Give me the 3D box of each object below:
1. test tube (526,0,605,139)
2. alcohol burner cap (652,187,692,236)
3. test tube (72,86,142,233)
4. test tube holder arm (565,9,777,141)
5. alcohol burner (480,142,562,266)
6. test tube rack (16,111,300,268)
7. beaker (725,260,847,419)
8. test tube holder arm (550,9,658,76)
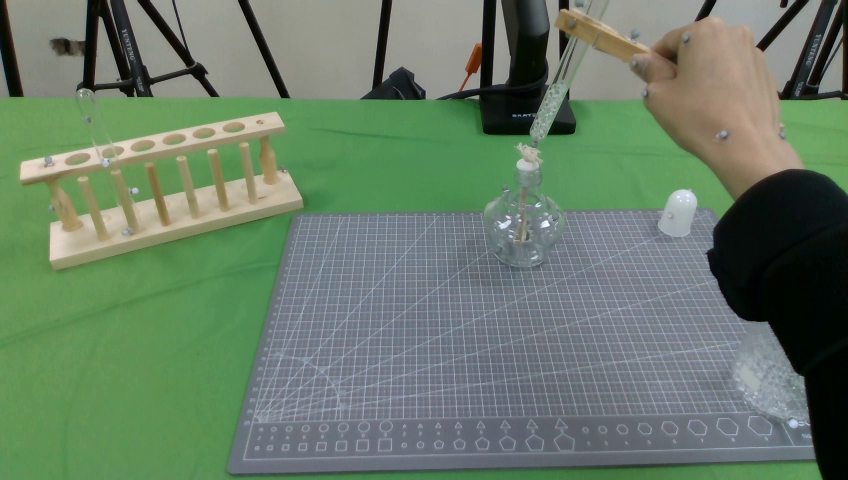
[{"bbox_3d":[0.112,-0.144,0.470,0.017,0.151,0.017,13,38,-10],"label":"test tube"},{"bbox_3d":[0.254,-0.032,0.616,0.034,0.048,0.033,0,40,0],"label":"alcohol burner cap"},{"bbox_3d":[-0.289,-0.070,0.557,0.017,0.152,0.017,-1,38,1],"label":"test tube"},{"bbox_3d":[0.165,-0.121,0.427,0.013,0.015,0.176,-21,52,-40],"label":"test tube holder arm"},{"bbox_3d":[0.091,-0.035,0.563,0.078,0.120,0.077,-1,38,1],"label":"alcohol burner"},{"bbox_3d":[-0.257,-0.056,0.611,0.243,0.086,0.066,-16,42,-19],"label":"test tube rack"},{"bbox_3d":[0.269,0.074,0.443,0.074,0.101,0.083,-20,43,-23],"label":"beaker"},{"bbox_3d":[0.131,-0.145,0.443,0.087,0.015,0.010,37,40,22],"label":"test tube holder arm"}]
